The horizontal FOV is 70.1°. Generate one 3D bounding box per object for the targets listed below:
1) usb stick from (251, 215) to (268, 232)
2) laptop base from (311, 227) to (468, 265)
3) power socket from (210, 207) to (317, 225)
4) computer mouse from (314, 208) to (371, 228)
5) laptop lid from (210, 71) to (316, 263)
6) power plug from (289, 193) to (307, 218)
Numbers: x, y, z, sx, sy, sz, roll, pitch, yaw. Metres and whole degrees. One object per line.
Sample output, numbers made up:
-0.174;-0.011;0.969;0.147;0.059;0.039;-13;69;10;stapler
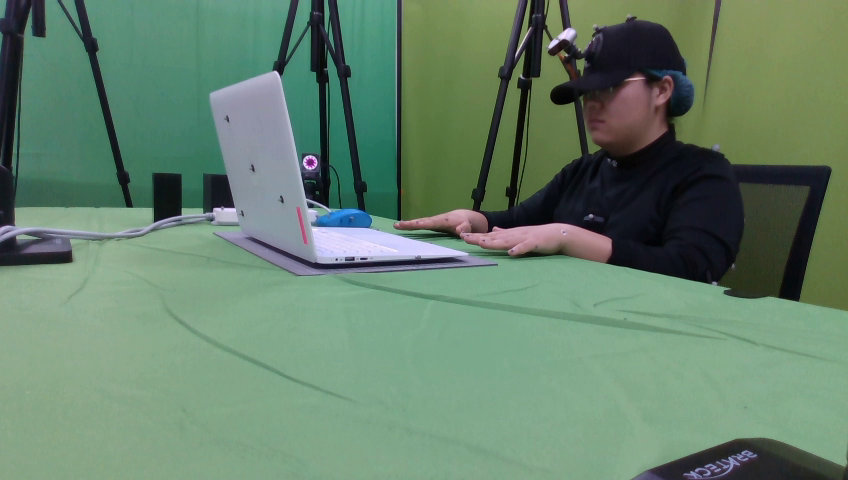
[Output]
-0.290;-0.028;1.070;0.021;0.027;0.059;-2;12;-29;usb stick
-0.123;0.007;0.952;0.237;0.023;0.352;2;6;-32;laptop base
-0.335;-0.051;1.281;0.228;0.032;0.072;-1;8;-28;power socket
-0.173;-0.046;1.284;0.118;0.041;0.062;-7;13;-30;computer mouse
-0.240;-0.104;0.861;0.013;0.241;0.355;-16;17;-29;laptop lid
-0.281;-0.076;1.340;0.035;0.052;0.072;3;6;-17;power plug
